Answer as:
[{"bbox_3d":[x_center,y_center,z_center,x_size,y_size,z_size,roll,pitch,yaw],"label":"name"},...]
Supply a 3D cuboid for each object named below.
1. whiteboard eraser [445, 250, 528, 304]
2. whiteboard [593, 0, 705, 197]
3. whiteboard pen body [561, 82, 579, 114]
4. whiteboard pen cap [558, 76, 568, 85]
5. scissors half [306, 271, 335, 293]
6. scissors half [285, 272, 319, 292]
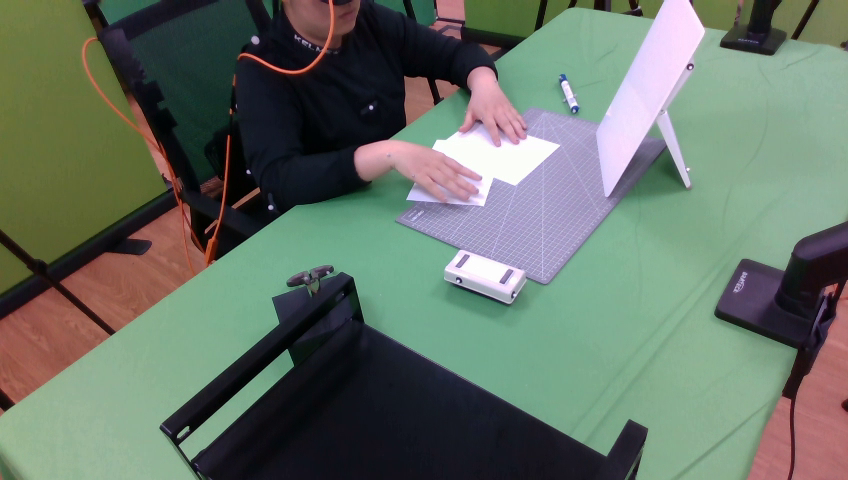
[{"bbox_3d":[0.090,0.056,0.882,0.112,0.042,0.056,17,44,27],"label":"whiteboard eraser"},{"bbox_3d":[0.421,-0.227,1.009,0.144,0.305,0.216,17,41,-3],"label":"whiteboard"},{"bbox_3d":[0.311,-0.311,1.298,0.017,0.017,0.140,-6,41,3],"label":"whiteboard pen body"},{"bbox_3d":[0.310,-0.350,1.340,0.018,0.018,0.033,-6,41,2],"label":"whiteboard pen cap"},{"bbox_3d":[-0.152,0.061,0.872,0.040,0.013,0.175,-4,6,-4],"label":"scissors half"},{"bbox_3d":[-0.172,0.063,0.868,0.040,0.013,0.174,-11,7,-21],"label":"scissors half"}]
